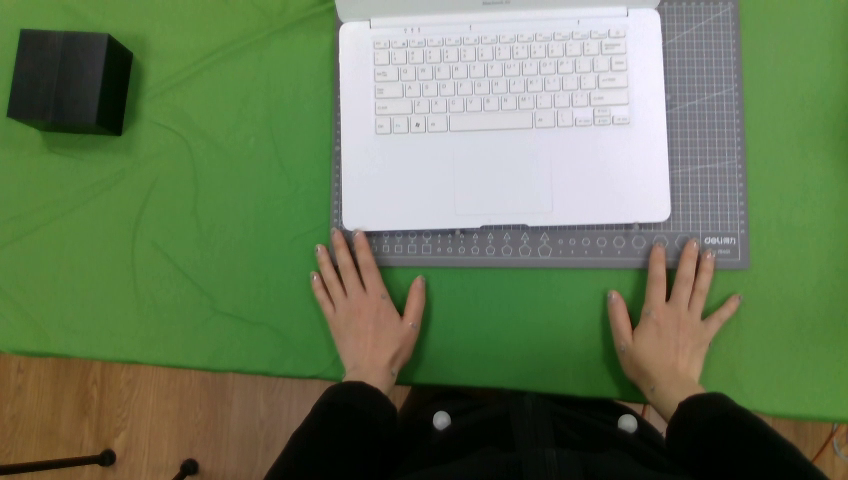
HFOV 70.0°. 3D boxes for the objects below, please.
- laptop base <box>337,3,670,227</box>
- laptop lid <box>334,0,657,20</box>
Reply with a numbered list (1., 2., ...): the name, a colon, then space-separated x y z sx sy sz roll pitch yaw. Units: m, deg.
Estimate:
1. laptop base: 0.083 -0.135 0.664 0.354 0.023 0.235 -2 88 3
2. laptop lid: 0.072 -0.311 0.572 0.356 0.244 0.013 -3 60 4
